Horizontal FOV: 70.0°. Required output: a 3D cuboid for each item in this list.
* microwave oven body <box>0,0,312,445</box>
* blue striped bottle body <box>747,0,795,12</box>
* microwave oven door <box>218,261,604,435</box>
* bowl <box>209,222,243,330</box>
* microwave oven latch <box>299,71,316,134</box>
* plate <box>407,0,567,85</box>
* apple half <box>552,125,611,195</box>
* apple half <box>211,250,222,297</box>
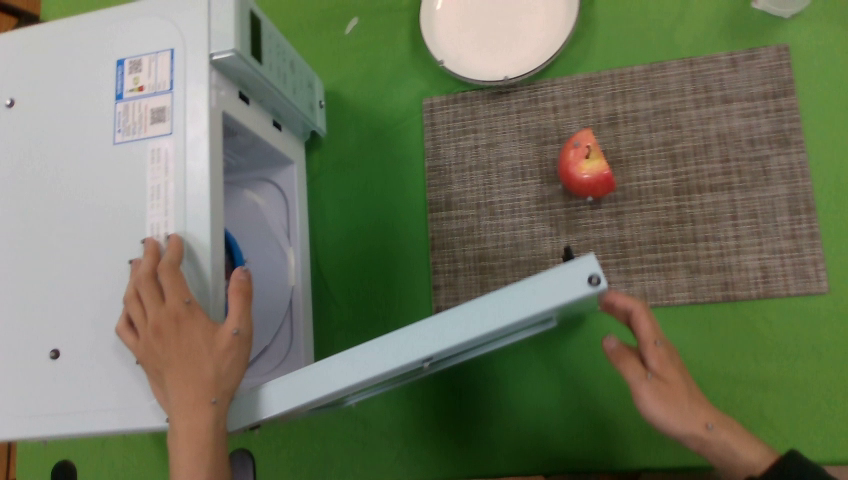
[{"bbox_3d":[-0.309,-0.008,0.719,0.325,0.261,0.439,-8,79,11],"label":"microwave oven body"},{"bbox_3d":[0.411,-0.317,0.684,0.063,0.121,0.063,-2,79,13],"label":"blue striped bottle body"},{"bbox_3d":[0.006,0.112,0.623,0.356,0.245,0.039,-23,75,8],"label":"microwave oven door"},{"bbox_3d":[-0.278,0.044,0.745,0.151,0.077,0.151,0,91,17],"label":"bowl"},{"bbox_3d":[-0.162,-0.184,0.816,0.030,0.029,0.079,-3,80,12],"label":"microwave oven latch"},{"bbox_3d":[0.083,-0.299,0.800,0.207,0.039,0.207,-2,80,12],"label":"plate"},{"bbox_3d":[0.180,-0.087,0.719,0.053,0.075,0.080,-27,79,13],"label":"apple half"},{"bbox_3d":[-0.286,0.040,0.734,0.081,0.033,0.081,1,95,8],"label":"apple half"}]
